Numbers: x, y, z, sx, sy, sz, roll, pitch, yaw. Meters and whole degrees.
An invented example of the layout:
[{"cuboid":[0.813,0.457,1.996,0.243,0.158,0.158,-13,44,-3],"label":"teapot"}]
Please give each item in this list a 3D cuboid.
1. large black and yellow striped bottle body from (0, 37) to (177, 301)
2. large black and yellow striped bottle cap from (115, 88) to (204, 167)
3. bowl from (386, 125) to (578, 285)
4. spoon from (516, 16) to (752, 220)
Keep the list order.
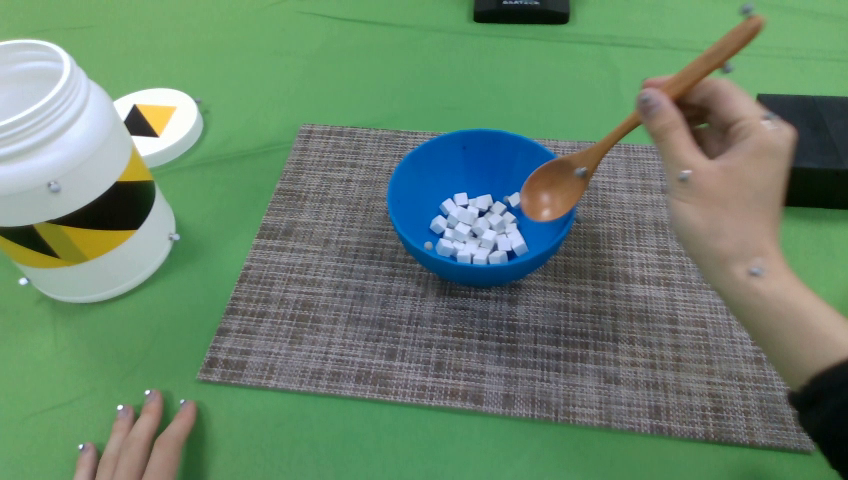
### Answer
[{"cuboid":[-0.293,-0.052,0.485,0.131,0.186,0.129,-1,51,2],"label":"large black and yellow striped bottle body"},{"cuboid":[-0.297,-0.122,0.650,0.115,0.019,0.114,0,51,1],"label":"large black and yellow striped bottle cap"},{"cuboid":[0.046,-0.016,0.503,0.151,0.077,0.150,-1,52,2],"label":"bowl"},{"cuboid":[0.127,-0.071,0.398,0.022,0.194,0.041,-13,69,-39],"label":"spoon"}]
